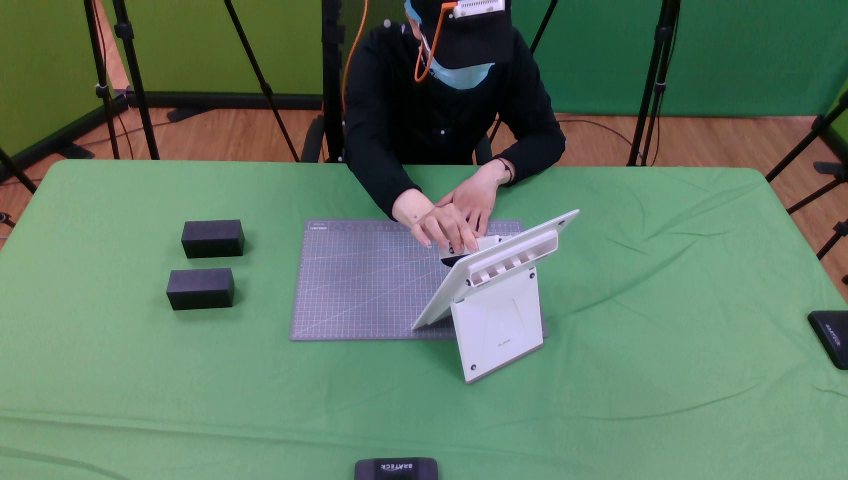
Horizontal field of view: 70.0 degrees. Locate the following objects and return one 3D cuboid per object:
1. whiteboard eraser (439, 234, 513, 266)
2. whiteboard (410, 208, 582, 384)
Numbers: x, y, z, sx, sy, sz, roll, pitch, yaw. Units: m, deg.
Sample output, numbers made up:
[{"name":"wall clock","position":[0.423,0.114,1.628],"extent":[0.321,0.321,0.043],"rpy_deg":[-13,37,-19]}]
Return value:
[{"name":"whiteboard eraser","position":[0.082,0.017,0.934],"extent":[0.056,0.112,0.041],"rpy_deg":[5,76,-52]},{"name":"whiteboard","position":[0.131,0.108,0.946],"extent":[0.217,0.306,0.143],"rpy_deg":[-21,72,-22]}]
